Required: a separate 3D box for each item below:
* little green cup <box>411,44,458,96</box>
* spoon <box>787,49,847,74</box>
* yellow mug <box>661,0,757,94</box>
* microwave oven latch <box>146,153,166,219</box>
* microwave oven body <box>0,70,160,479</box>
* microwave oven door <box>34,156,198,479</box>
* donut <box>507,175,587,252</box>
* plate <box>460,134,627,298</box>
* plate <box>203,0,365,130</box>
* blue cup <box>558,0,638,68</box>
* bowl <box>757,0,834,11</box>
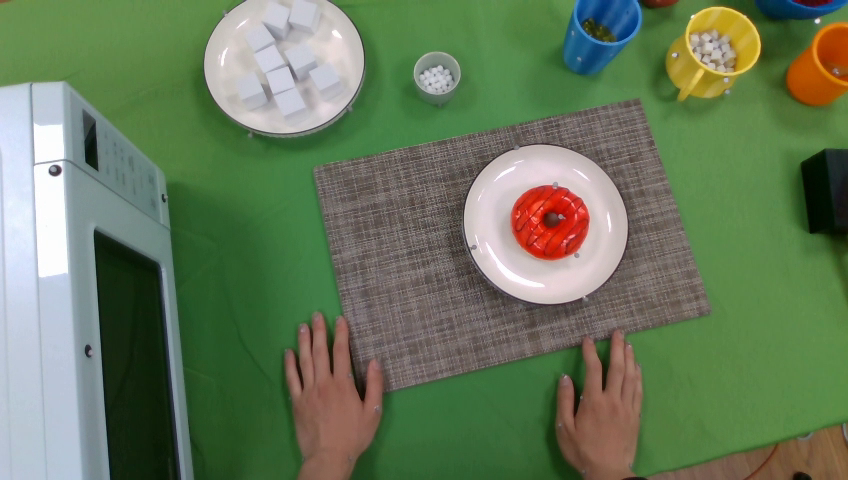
[{"bbox_3d":[0.013,-0.222,0.801,0.061,0.039,0.061,0,77,-2],"label":"little green cup"},{"bbox_3d":[0.564,-0.224,0.766,0.022,0.192,0.041,43,76,-38],"label":"spoon"},{"bbox_3d":[0.370,-0.248,0.806,0.100,0.064,0.130,34,80,5],"label":"yellow mug"},{"bbox_3d":[-0.332,-0.064,0.735,0.030,0.029,0.079,-8,79,-4],"label":"microwave oven latch"},{"bbox_3d":[-0.443,0.110,0.595,0.326,0.261,0.439,-10,79,-5],"label":"microwave oven body"},{"bbox_3d":[-0.291,0.125,0.592,0.039,0.244,0.354,-10,78,-4],"label":"microwave oven door"},{"bbox_3d":[0.152,-0.033,0.750,0.099,0.048,0.098,0,78,0],"label":"donut"},{"bbox_3d":[0.147,-0.029,0.760,0.209,0.038,0.208,0,78,-2],"label":"plate"},{"bbox_3d":[-0.181,-0.238,0.797,0.208,0.039,0.206,1,78,-2],"label":"plate"},{"bbox_3d":[0.217,-0.275,0.788,0.093,0.100,0.092,1,78,-3],"label":"blue cup"},{"bbox_3d":[0.504,-0.373,0.832,0.151,0.077,0.150,0,78,-2],"label":"bowl"}]
